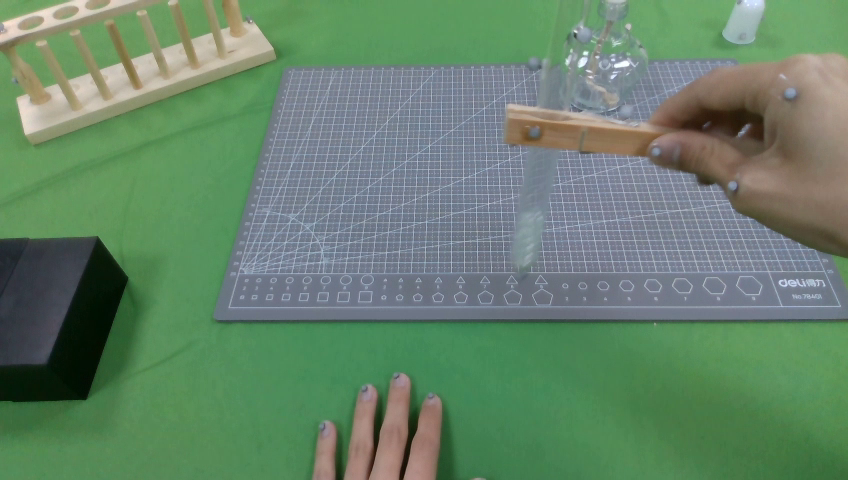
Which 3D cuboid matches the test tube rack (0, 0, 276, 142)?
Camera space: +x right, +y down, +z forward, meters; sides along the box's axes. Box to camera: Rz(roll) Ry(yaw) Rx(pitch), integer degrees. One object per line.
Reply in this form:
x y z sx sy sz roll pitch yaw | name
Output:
-0.276 -0.187 0.580 0.242 0.086 0.066 -25 54 -16 | test tube rack

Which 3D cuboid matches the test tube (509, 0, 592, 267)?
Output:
0.060 -0.049 0.297 0.017 0.151 0.017 4 34 -2 | test tube

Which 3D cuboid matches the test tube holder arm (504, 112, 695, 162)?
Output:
0.082 -0.049 0.288 0.088 0.015 0.010 6 37 0 | test tube holder arm

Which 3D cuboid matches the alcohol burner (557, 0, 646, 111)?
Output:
0.157 -0.174 0.526 0.078 0.120 0.077 -1 50 2 | alcohol burner

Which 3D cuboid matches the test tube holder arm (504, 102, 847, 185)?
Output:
0.127 -0.045 0.289 0.178 0.015 0.013 10 38 6 | test tube holder arm

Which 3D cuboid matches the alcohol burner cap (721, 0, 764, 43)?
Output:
0.323 -0.226 0.609 0.034 0.048 0.033 -2 51 3 | alcohol burner cap
